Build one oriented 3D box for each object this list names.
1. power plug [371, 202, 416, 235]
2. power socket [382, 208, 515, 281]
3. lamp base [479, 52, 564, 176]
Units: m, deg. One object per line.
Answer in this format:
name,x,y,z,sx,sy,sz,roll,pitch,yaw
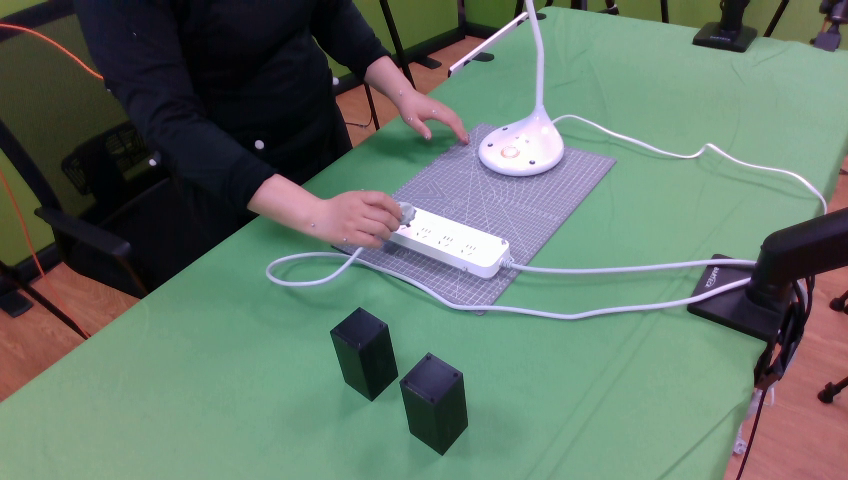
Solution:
power plug,-0.045,-0.029,0.889,0.072,0.053,0.035,-37,50,1
power socket,0.032,0.002,0.950,0.225,0.033,0.072,21,49,29
lamp base,0.181,-0.235,1.093,0.159,0.181,0.179,18,44,27
